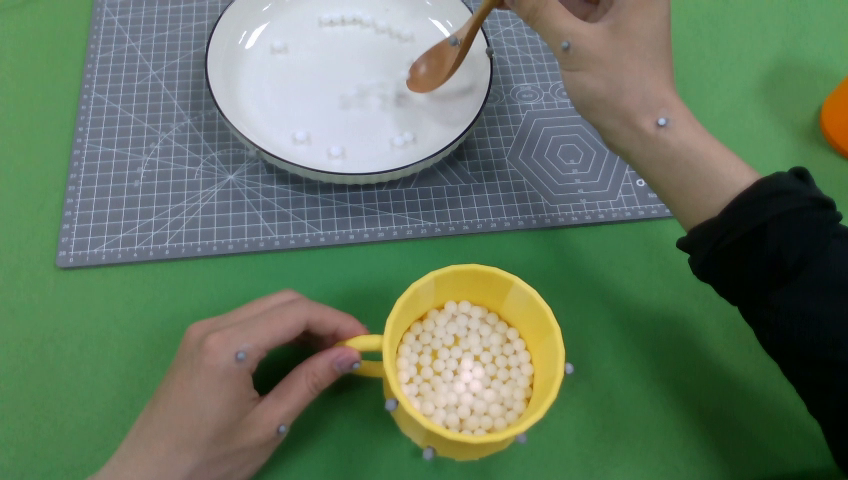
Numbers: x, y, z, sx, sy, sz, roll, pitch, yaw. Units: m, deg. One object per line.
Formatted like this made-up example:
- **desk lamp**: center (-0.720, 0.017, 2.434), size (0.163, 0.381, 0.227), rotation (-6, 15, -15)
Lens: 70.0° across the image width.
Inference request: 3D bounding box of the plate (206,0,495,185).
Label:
- **plate**: center (-0.052, -0.126, 0.454), size (0.208, 0.039, 0.206), rotation (2, 64, -4)

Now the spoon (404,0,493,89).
- **spoon**: center (0.043, -0.149, 0.371), size (0.022, 0.193, 0.041), rotation (19, 63, -25)

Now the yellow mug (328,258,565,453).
- **yellow mug**: center (0.009, 0.068, 0.353), size (0.131, 0.064, 0.099), rotation (3, 64, -2)
